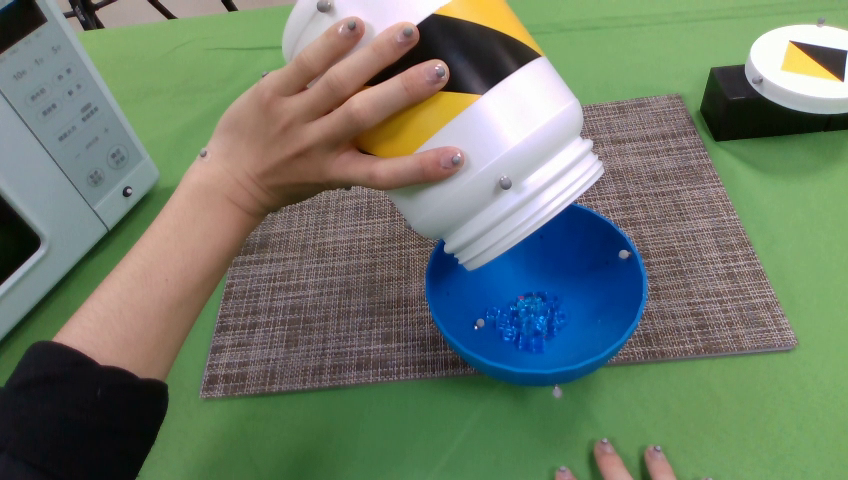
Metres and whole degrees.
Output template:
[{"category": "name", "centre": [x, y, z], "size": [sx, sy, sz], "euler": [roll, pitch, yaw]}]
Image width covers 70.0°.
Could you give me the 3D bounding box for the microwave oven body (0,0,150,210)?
[{"category": "microwave oven body", "centre": [-0.514, -0.031, 0.475], "size": [0.324, 0.263, 0.439], "euler": [17, 56, 21]}]

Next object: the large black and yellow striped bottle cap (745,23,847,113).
[{"category": "large black and yellow striped bottle cap", "centre": [0.356, -0.158, 0.549], "size": [0.115, 0.019, 0.114], "euler": [-5, 49, 6]}]

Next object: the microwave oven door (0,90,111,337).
[{"category": "microwave oven door", "centre": [-0.403, 0.035, 0.397], "size": [0.039, 0.246, 0.354], "euler": [17, 55, 22]}]

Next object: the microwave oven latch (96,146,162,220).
[{"category": "microwave oven latch", "centre": [-0.293, -0.058, 0.592], "size": [0.030, 0.030, 0.079], "euler": [19, 56, 22]}]

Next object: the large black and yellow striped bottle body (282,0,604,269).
[{"category": "large black and yellow striped bottle body", "centre": [0.015, -0.086, 0.384], "size": [0.130, 0.130, 0.184], "euler": [-38, 92, -21]}]

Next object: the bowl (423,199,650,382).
[{"category": "bowl", "centre": [0.078, 0.046, 0.442], "size": [0.151, 0.077, 0.150], "euler": [-4, 50, 6]}]
